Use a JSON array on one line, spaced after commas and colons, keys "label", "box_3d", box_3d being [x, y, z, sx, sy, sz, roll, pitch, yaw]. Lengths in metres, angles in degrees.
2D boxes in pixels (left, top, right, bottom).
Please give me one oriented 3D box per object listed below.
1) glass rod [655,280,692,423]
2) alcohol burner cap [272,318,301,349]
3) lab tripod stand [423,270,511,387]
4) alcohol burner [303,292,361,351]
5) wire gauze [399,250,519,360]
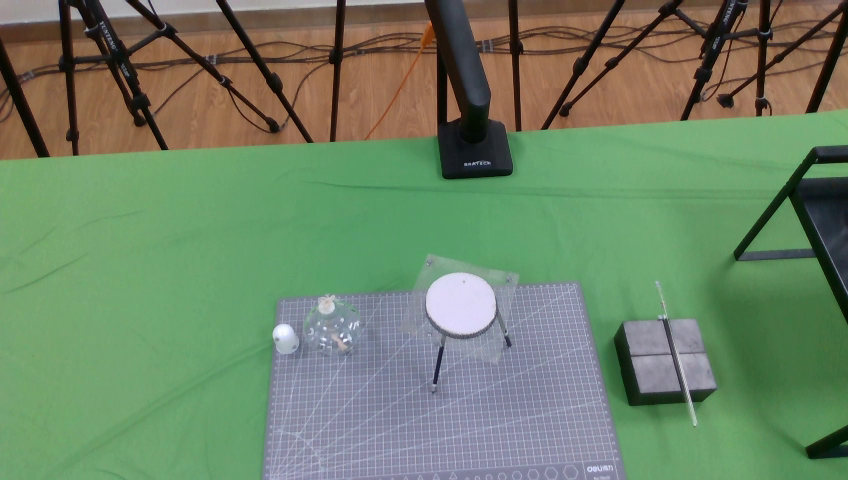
[{"label": "glass rod", "box_3d": [0.326, 0.141, 0.795, 0.008, 0.008, 0.198, 0, 58, 0]}, {"label": "alcohol burner cap", "box_3d": [-0.191, 0.127, 0.832, 0.034, 0.048, 0.033, -2, 57, 3]}, {"label": "lab tripod stand", "box_3d": [0.048, 0.108, 0.793, 0.148, 0.132, 0.147, 1, 56, -1]}, {"label": "alcohol burner", "box_3d": [-0.124, 0.101, 0.807, 0.078, 0.120, 0.077, 1, 57, -1]}, {"label": "wire gauze", "box_3d": [0.045, 0.073, 0.735, 0.125, 0.011, 0.120, 16, 59, 9]}]
